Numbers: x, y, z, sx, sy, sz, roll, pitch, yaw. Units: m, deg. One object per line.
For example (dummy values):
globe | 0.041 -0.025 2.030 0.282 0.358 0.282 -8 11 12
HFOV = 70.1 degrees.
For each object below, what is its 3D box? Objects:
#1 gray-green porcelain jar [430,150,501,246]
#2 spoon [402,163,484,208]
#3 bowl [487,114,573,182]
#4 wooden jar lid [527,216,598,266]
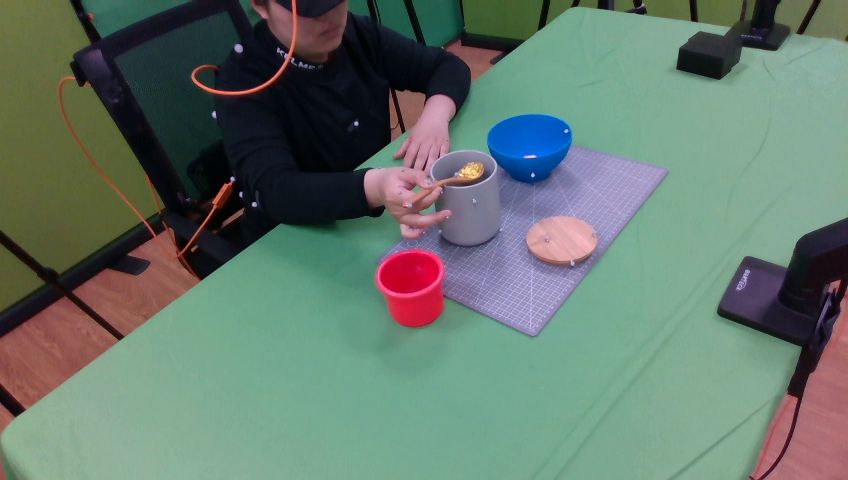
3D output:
gray-green porcelain jar | 0.068 -0.062 0.959 0.106 0.127 0.105 -5 40 5
spoon | 0.028 -0.081 0.878 0.041 0.022 0.195 18 28 33
bowl | 0.190 -0.156 1.085 0.151 0.077 0.150 -5 40 5
wooden jar lid | 0.214 0.003 0.937 0.108 0.021 0.108 -4 40 4
